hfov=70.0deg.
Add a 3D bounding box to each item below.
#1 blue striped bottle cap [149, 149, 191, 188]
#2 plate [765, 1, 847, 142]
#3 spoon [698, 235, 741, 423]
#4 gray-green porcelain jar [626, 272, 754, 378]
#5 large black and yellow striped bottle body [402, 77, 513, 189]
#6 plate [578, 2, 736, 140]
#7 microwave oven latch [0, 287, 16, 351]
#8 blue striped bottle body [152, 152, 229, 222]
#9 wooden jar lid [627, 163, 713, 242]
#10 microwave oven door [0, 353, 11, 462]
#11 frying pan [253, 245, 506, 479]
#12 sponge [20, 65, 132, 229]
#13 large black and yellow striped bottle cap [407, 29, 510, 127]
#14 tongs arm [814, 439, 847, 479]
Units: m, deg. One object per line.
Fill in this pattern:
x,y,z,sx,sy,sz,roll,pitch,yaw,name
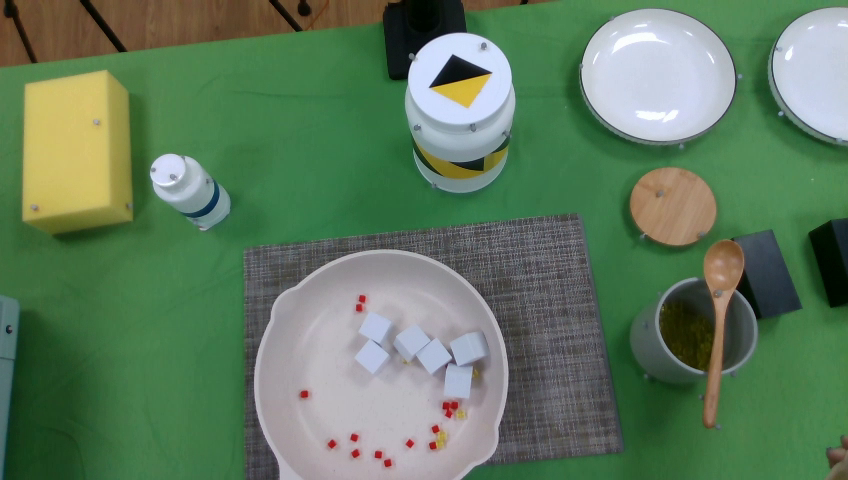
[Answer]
-0.305,-0.086,0.728,0.044,0.021,0.044,-1,75,3,blue striped bottle cap
0.566,-0.224,0.819,0.209,0.038,0.208,-1,74,3,plate
0.298,0.090,0.624,0.041,0.022,0.193,11,78,3,spoon
0.295,0.102,0.693,0.106,0.127,0.105,-1,73,3,gray-green porcelain jar
0.042,-0.155,0.751,0.131,0.185,0.130,-1,73,3,large black and yellow striped bottle body
0.315,-0.229,0.834,0.207,0.039,0.206,-1,74,3,plate
-0.538,0.100,0.763,0.030,0.029,0.078,-3,74,2,microwave oven latch
-0.301,-0.071,0.776,0.063,0.121,0.062,-1,73,3,blue striped bottle body
0.319,-0.048,0.791,0.108,0.021,0.108,-1,76,3,wooden jar lid
-0.528,0.280,0.605,0.039,0.245,0.353,-6,73,1,microwave oven door
-0.111,0.230,0.685,0.305,0.103,0.486,34,70,13,frying pan
-0.478,-0.127,0.832,0.118,0.061,0.205,-11,74,-1,sponge
0.038,-0.181,0.671,0.115,0.019,0.114,-1,75,3,large black and yellow striped bottle cap
0.390,0.180,0.528,0.028,0.028,0.389,23,109,-6,tongs arm
